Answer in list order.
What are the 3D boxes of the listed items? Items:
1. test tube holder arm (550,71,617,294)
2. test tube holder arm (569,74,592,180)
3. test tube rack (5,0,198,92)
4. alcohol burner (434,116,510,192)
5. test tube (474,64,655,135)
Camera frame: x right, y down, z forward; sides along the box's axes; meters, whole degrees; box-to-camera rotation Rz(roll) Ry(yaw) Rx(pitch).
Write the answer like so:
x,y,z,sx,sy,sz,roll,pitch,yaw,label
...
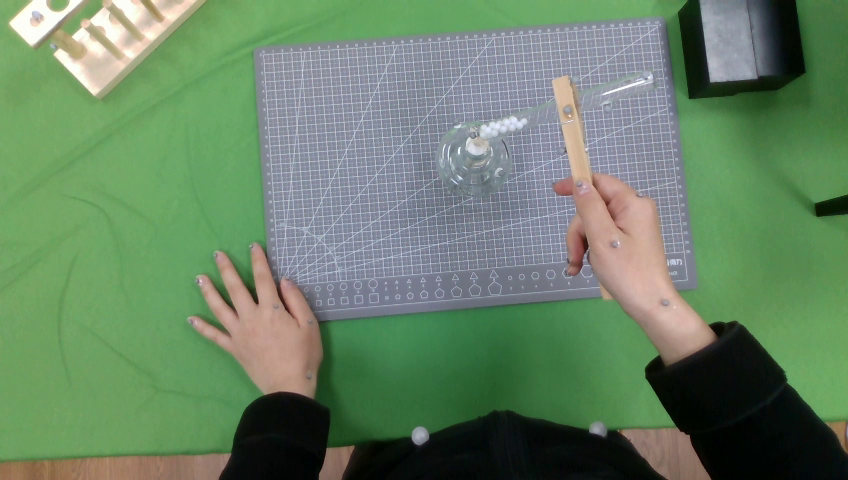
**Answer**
x,y,z,sx,sy,sz,roll,pitch,yaw,label
0.126,-0.045,0.477,0.015,0.013,0.178,-13,87,31,test tube holder arm
0.120,-0.089,0.486,0.015,0.010,0.087,-13,79,31,test tube holder arm
-0.286,-0.269,0.616,0.066,0.085,0.242,45,86,3,test tube rack
0.048,-0.089,0.593,0.078,0.119,0.077,0,83,1,alcohol burner
0.108,-0.110,0.487,0.150,0.017,0.017,-12,84,30,test tube
